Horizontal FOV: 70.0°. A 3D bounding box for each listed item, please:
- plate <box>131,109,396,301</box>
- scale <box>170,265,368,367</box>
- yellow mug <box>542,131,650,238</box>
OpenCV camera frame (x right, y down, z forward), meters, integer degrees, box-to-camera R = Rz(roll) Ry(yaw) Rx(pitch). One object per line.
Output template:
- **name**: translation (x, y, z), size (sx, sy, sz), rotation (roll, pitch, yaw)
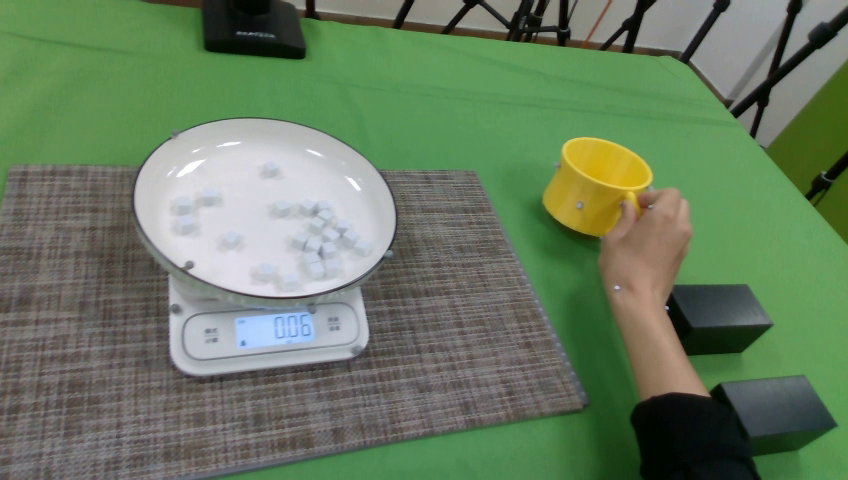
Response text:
- **plate**: translation (-0.128, -0.031, 0.506), size (0.210, 0.038, 0.207), rotation (11, 46, -11)
- **scale**: translation (-0.135, 0.009, 0.513), size (0.149, 0.032, 0.198), rotation (-2, 50, -22)
- **yellow mug**: translation (0.193, -0.056, 0.657), size (0.100, 0.064, 0.129), rotation (-4, 44, -22)
